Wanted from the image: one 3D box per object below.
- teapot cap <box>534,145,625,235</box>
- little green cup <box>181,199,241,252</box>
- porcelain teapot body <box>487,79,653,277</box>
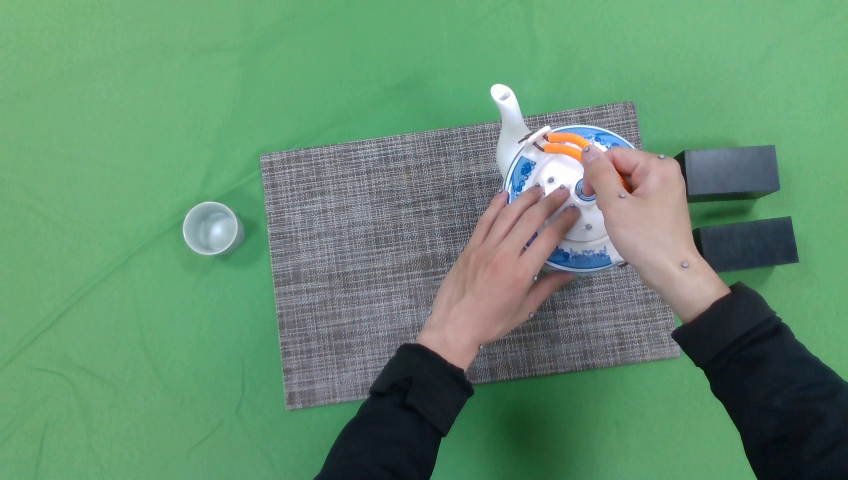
[{"bbox_3d":[0.143,-0.047,0.555,0.085,0.044,0.085,0,80,2],"label":"teapot cap"},{"bbox_3d":[-0.243,-0.014,0.700,0.061,0.039,0.061,0,83,2],"label":"little green cup"},{"bbox_3d":[0.125,-0.064,0.597,0.145,0.226,0.205,-41,83,-3],"label":"porcelain teapot body"}]
